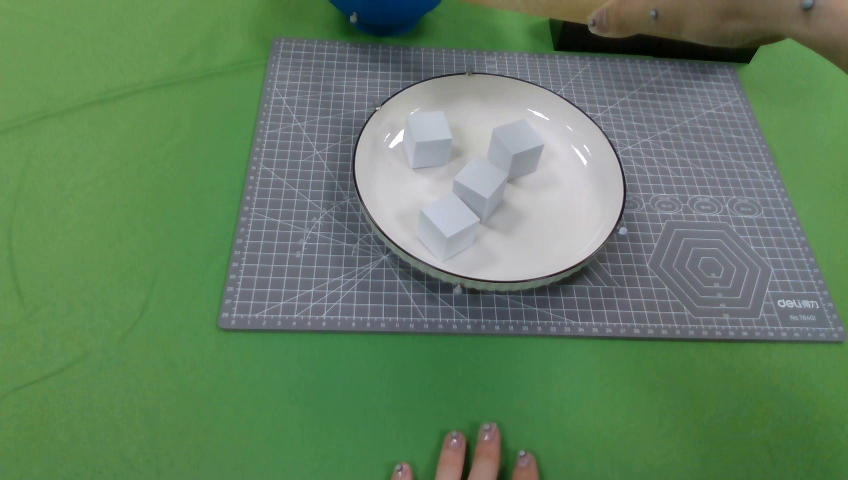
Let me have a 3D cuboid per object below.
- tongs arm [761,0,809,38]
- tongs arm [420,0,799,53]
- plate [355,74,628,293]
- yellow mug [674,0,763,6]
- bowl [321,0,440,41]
[{"bbox_3d":[0.089,-0.207,0.440,0.051,0.027,0.380,-38,46,-19],"label":"tongs arm"},{"bbox_3d":[0.049,-0.175,0.423,0.028,0.028,0.383,-39,46,-25],"label":"tongs arm"},{"bbox_3d":[0.051,-0.045,0.473,0.208,0.039,0.205,3,56,-3],"label":"plate"},{"bbox_3d":[0.255,-0.243,0.550,0.131,0.064,0.099,-12,58,-12],"label":"yellow mug"},{"bbox_3d":[-0.041,-0.246,0.577,0.151,0.077,0.150,2,56,-3],"label":"bowl"}]
